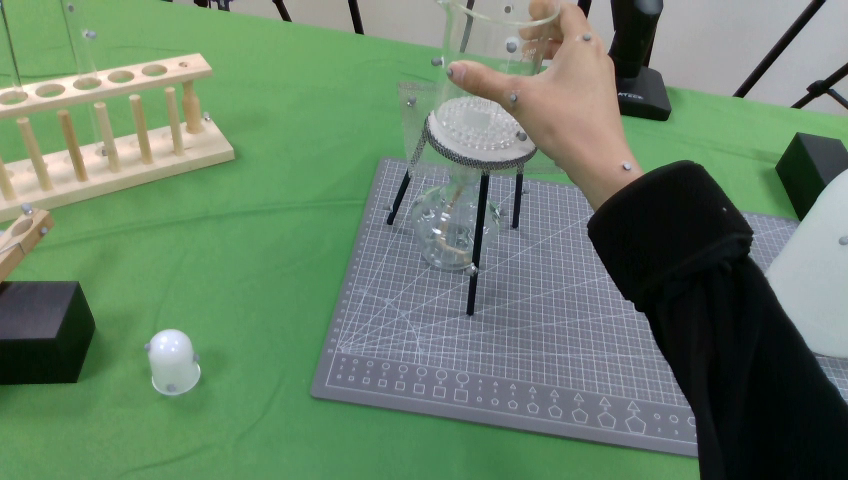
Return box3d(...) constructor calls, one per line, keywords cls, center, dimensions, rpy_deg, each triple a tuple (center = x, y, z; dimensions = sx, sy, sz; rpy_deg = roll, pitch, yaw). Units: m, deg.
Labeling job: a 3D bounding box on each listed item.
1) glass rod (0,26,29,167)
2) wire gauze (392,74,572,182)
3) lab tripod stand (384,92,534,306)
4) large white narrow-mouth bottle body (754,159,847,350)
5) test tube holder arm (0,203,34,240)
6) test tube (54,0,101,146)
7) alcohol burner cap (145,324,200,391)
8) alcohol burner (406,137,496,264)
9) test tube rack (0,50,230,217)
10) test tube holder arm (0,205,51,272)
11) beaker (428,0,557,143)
box3d(cls="glass rod", center=(-0.344, -0.148, 0.495), dimensions=(0.008, 0.201, 0.008), rpy_deg=(8, 35, -5))
box3d(cls="wire gauze", center=(0.039, -0.090, 0.460), dimensions=(0.122, 0.011, 0.123), rpy_deg=(-2, 49, -9))
box3d(cls="lab tripod stand", center=(0.035, -0.041, 0.504), dimensions=(0.148, 0.132, 0.147), rpy_deg=(6, 45, -5))
box3d(cls="large white narrow-mouth bottle body", center=(0.350, -0.006, 0.475), dimensions=(0.102, 0.196, 0.101), rpy_deg=(4, 44, -3))
box3d(cls="test tube holder arm", center=(-0.303, 0.036, 0.386), dimensions=(0.013, 0.015, 0.177), rpy_deg=(11, 43, 2))
box3d(cls="test tube", center=(-0.298, -0.149, 0.529), dimensions=(0.017, 0.151, 0.017), rpy_deg=(5, 39, -4))
box3d(cls="alcohol burner cap", center=(-0.174, 0.079, 0.417), dimensions=(0.034, 0.048, 0.033), rpy_deg=(6, 44, -5))
box3d(cls="alcohol burner", center=(0.026, -0.037, 0.513), dimensions=(0.078, 0.120, 0.077), rpy_deg=(6, 43, -5))
box3d(cls="test tube rack", center=(-0.309, -0.097, 0.544), dimensions=(0.243, 0.086, 0.066), rpy_deg=(-22, 52, -28))
box3d(cls="test tube holder arm", center=(-0.290, 0.008, 0.419), dimensions=(0.010, 0.015, 0.087), rpy_deg=(11, 43, 3))
box3d(cls="beaker", center=(0.040, -0.127, 0.429), dimensions=(0.084, 0.101, 0.073), rpy_deg=(4, 45, -5))
